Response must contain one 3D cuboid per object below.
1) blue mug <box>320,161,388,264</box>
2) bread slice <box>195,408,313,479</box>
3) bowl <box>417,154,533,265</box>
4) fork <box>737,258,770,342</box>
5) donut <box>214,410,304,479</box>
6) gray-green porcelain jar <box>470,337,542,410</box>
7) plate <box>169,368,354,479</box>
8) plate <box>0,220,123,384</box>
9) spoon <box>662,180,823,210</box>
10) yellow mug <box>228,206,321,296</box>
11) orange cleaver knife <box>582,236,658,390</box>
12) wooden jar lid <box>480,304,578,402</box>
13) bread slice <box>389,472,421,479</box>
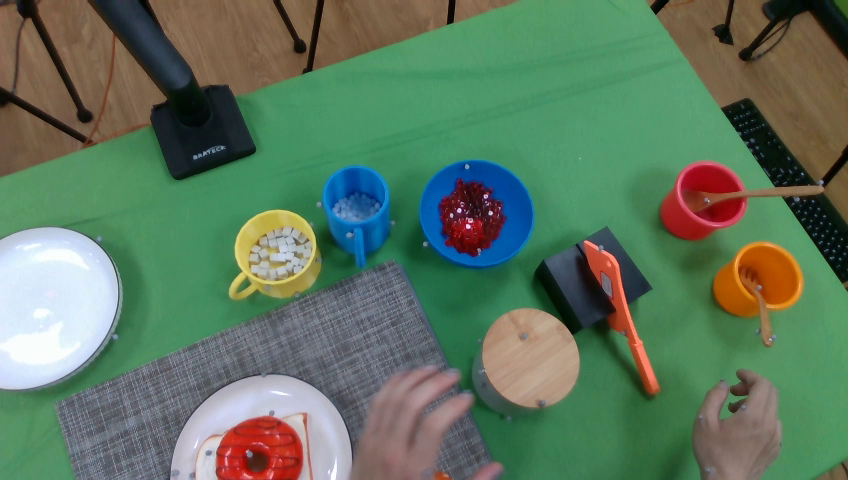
[{"bbox_3d":[-0.087,-0.027,0.784,0.082,0.106,0.115,-3,70,-5],"label":"blue mug"},{"bbox_3d":[-0.198,0.260,0.707,0.132,0.019,0.104,-9,70,-10],"label":"bread slice"},{"bbox_3d":[0.064,-0.030,0.809,0.151,0.077,0.150,1,70,-3],"label":"bowl"},{"bbox_3d":[0.414,0.071,0.757,0.028,0.019,0.207,38,28,4],"label":"fork"},{"bbox_3d":[-0.185,0.243,0.682,0.099,0.048,0.098,3,70,-6],"label":"donut"},{"bbox_3d":[0.112,0.146,0.723,0.106,0.127,0.105,1,70,-3],"label":"gray-green porcelain jar"},{"bbox_3d":[-0.185,0.256,0.707,0.209,0.038,0.207,1,70,-3],"label":"plate"},{"bbox_3d":[-0.480,0.077,0.757,0.208,0.039,0.206,1,70,-3],"label":"plate"},{"bbox_3d":[0.417,-0.064,0.808,0.022,0.192,0.041,41,59,-37],"label":"spoon"},{"bbox_3d":[-0.199,0.024,0.779,0.099,0.064,0.130,42,74,12],"label":"yellow mug"},{"bbox_3d":[0.249,0.093,0.774,0.012,0.077,0.212,-26,103,-11],"label":"orange cleaver knife"},{"bbox_3d":[0.114,0.124,0.664,0.108,0.021,0.107,2,70,-5],"label":"wooden jar lid"},{"bbox_3d":[-0.008,0.302,0.655,0.018,0.135,0.106,-14,69,-17],"label":"bread slice"}]
